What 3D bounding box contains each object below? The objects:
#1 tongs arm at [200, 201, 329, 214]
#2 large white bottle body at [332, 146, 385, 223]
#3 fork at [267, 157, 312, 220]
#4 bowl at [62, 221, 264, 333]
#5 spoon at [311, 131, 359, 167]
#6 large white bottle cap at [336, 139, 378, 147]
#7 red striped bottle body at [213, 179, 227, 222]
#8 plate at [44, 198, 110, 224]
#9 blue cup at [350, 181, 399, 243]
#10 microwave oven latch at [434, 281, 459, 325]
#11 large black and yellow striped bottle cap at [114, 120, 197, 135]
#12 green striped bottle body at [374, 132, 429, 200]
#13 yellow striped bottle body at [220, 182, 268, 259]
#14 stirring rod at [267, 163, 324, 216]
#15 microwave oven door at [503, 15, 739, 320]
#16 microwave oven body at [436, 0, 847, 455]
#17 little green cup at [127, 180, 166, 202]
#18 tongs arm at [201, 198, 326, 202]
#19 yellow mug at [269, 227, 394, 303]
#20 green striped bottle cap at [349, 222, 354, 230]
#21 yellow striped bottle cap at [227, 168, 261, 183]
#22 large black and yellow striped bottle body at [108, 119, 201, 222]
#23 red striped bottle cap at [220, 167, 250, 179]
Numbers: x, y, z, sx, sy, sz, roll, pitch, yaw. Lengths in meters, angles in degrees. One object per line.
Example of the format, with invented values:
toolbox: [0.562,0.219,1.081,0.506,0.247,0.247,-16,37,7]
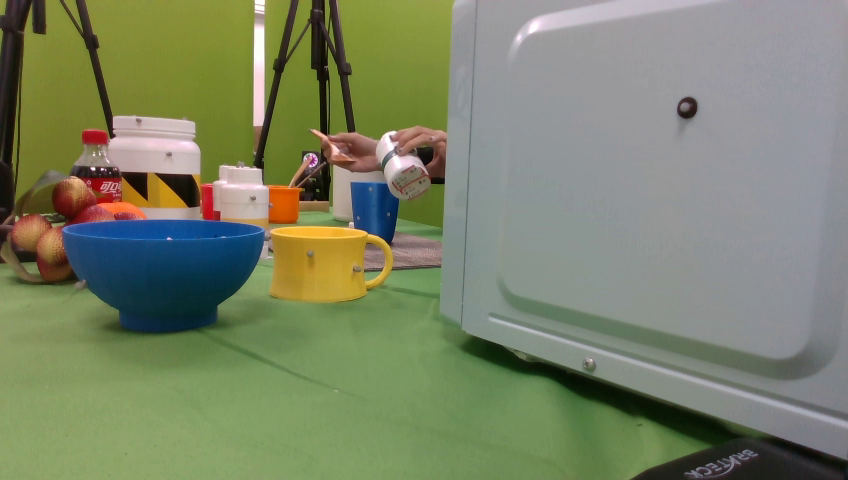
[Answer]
tongs arm: [-0.378,-0.079,1.440,0.387,0.026,0.050,-4,7,-44]
large white bottle body: [-0.146,-0.136,1.388,0.131,0.184,0.130,2,8,0]
fork: [-0.289,-0.116,1.321,0.028,0.019,0.207,6,52,18]
bowl: [-0.209,0.029,0.496,0.151,0.077,0.151,2,7,0]
spoon: [-0.168,-0.171,1.111,0.042,0.021,0.192,-4,31,-30]
large white bottle cap: [-0.143,-0.219,1.375,0.115,0.018,0.115,2,8,0]
red striped bottle body: [-0.284,-0.048,0.909,0.063,0.119,0.063,3,12,0]
plate: [-0.617,-0.056,1.179,0.209,0.038,0.209,3,7,0]
blue cup: [-0.082,-0.047,1.011,0.093,0.100,0.092,1,7,0]
microwave oven latch: [0.044,0.045,0.470,0.079,0.029,0.030,-2,8,-39]
large black and yellow striped bottle cap: [-0.407,-0.171,0.920,0.115,0.019,0.115,2,9,0]
green striped bottle body: [-0.038,-0.119,0.923,0.063,0.063,0.118,0,40,-22]
yellow striped bottle body: [-0.246,-0.036,0.825,0.063,0.120,0.063,3,8,0]
stirring rod: [-0.278,-0.105,1.294,0.176,0.006,0.014,-47,25,-18]
microwave oven door: [0.218,-0.065,0.600,0.358,0.243,0.039,-4,10,-41]
microwave oven body: [0.279,-0.040,0.465,0.444,0.260,0.324,-3,9,-41]
little green cup: [-0.486,-0.086,1.061,0.061,0.038,0.061,1,7,0]
tongs arm: [-0.433,-0.089,1.508,0.390,0.028,0.028,-1,2,-29]
yellow mug: [-0.094,0.023,0.629,0.131,0.064,0.099,0,7,-22]
green striped bottle cap: [-0.122,-0.024,1.155,0.044,0.020,0.044,-1,8,0]
yellow striped bottle cap: [-0.243,-0.087,0.818,0.044,0.018,0.044,4,6,0]
large black and yellow striped bottle body: [-0.412,-0.088,0.930,0.131,0.184,0.130,3,7,0]
red striped bottle cap: [-0.281,-0.100,0.901,0.044,0.017,0.044,-1,5,0]
